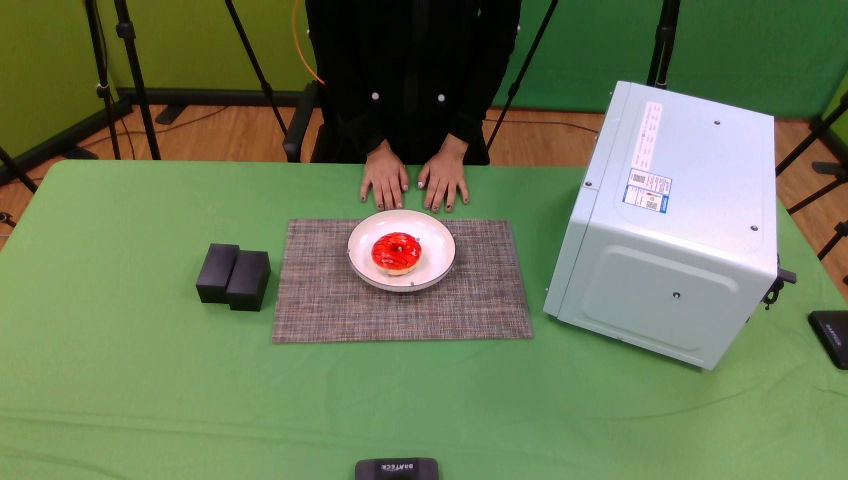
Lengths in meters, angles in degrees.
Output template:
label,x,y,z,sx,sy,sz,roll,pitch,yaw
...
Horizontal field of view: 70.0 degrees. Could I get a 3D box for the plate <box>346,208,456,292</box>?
label,x,y,z,sx,sy,sz,roll,pitch,yaw
plate,-0.044,0.021,1.159,0.209,0.038,0.208,2,47,-2

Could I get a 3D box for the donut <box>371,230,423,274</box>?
label,x,y,z,sx,sy,sz,roll,pitch,yaw
donut,-0.051,0.022,1.142,0.099,0.048,0.098,0,45,0

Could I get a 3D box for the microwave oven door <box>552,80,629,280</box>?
label,x,y,z,sx,sy,sz,roll,pitch,yaw
microwave oven door,0.324,-0.116,1.156,0.039,0.245,0.354,18,48,13

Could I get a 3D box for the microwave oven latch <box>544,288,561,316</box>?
label,x,y,z,sx,sy,sz,roll,pitch,yaw
microwave oven latch,0.237,0.098,1.087,0.030,0.029,0.079,17,47,14

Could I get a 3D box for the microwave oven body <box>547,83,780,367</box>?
label,x,y,z,sx,sy,sz,roll,pitch,yaw
microwave oven body,0.444,-0.041,1.101,0.325,0.261,0.440,17,47,13
